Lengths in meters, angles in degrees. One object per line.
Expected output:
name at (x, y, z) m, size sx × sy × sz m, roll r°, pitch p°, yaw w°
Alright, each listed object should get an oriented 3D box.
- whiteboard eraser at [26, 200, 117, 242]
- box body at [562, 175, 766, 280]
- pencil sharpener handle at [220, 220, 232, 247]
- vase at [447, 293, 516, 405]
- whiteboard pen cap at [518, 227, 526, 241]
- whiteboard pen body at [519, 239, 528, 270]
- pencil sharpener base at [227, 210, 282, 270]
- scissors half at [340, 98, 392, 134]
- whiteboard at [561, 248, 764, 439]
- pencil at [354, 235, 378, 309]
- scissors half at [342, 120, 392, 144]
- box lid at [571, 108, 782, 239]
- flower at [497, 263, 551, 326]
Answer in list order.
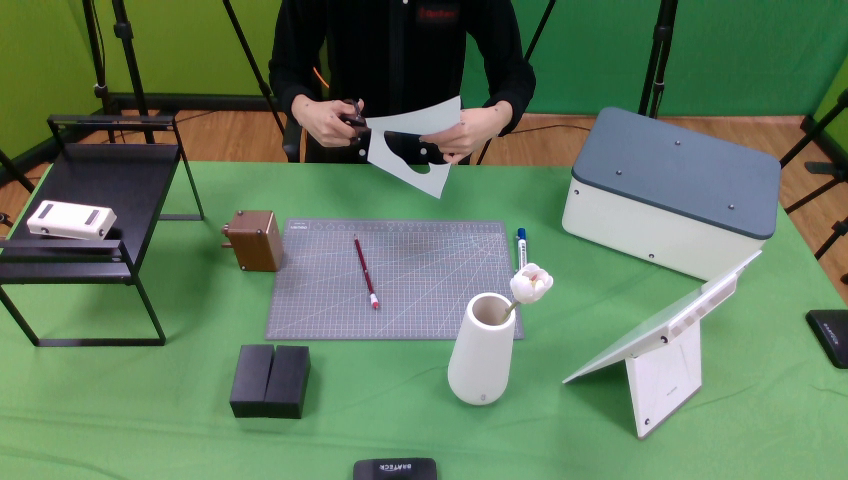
whiteboard eraser at (-0.532, -0.026, 0.919) m, size 0.113 × 0.042 × 0.055 m, roll 7°, pitch 45°, yaw 3°
box body at (0.486, -0.088, 1.222) m, size 0.363 × 0.161 × 0.253 m, roll 20°, pitch 48°, yaw 15°
pencil sharpener handle at (-0.362, -0.009, 1.105) m, size 0.030 × 0.068 × 0.036 m, roll 1°, pitch 52°, yaw 1°
vase at (0.091, 0.169, 0.921) m, size 0.098 × 0.201 × 0.097 m, roll 3°, pitch 47°, yaw -3°
whiteboard pen cap at (0.197, -0.009, 1.220) m, size 0.018 × 0.018 × 0.033 m, roll 5°, pitch 51°, yaw 1°
whiteboard pen body at (0.193, 0.035, 1.181) m, size 0.017 × 0.017 × 0.140 m, roll 6°, pitch 48°, yaw 1°
pencil sharpener base at (-0.311, 0.001, 1.112) m, size 0.077 × 0.107 × 0.061 m, roll 1°, pitch 47°, yaw 1°
scissors half at (-0.102, -0.213, 1.055) m, size 0.013 × 0.040 × 0.174 m, roll -18°, pitch 37°, yaw -30°
whiteboard at (0.386, 0.176, 0.905) m, size 0.217 × 0.306 × 0.143 m, roll -26°, pitch 72°, yaw -27°
pencil at (-0.112, 0.055, 1.143) m, size 0.012 × 0.012 × 0.192 m, roll -10°, pitch 46°, yaw -13°
scissors half at (-0.101, -0.192, 1.062) m, size 0.013 × 0.040 × 0.174 m, roll -13°, pitch 11°, yaw -32°
box lid at (0.491, -0.139, 1.168) m, size 0.370 × 0.015 × 0.262 m, roll 21°, pitch 49°, yaw 15°
flower at (0.102, 0.121, 0.852) m, size 0.044 × 0.363 × 0.038 m, roll -1°, pitch 64°, yaw -10°
